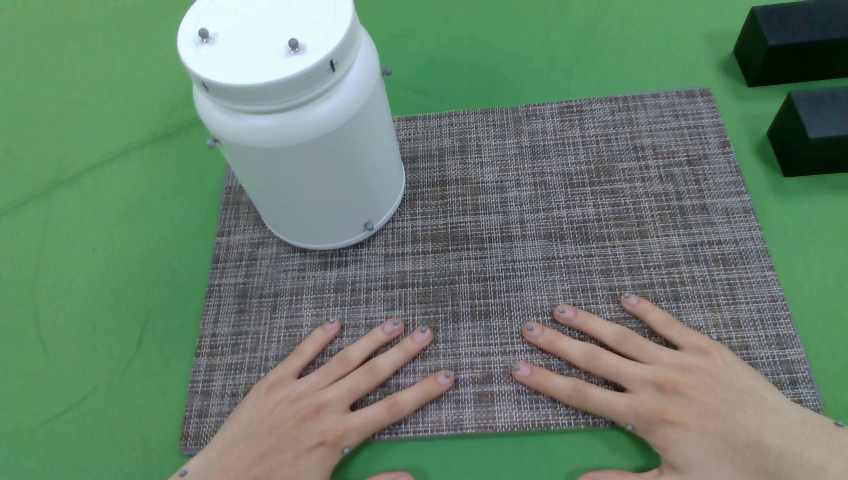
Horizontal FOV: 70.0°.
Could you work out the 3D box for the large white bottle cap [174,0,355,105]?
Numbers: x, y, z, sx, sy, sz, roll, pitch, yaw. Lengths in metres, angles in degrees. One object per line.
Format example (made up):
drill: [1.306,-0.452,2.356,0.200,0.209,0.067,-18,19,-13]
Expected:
large white bottle cap: [-0.102,-0.133,0.390,0.115,0.018,0.114,-3,58,5]

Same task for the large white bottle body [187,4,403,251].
large white bottle body: [-0.092,-0.089,0.461,0.130,0.186,0.129,-3,59,5]
